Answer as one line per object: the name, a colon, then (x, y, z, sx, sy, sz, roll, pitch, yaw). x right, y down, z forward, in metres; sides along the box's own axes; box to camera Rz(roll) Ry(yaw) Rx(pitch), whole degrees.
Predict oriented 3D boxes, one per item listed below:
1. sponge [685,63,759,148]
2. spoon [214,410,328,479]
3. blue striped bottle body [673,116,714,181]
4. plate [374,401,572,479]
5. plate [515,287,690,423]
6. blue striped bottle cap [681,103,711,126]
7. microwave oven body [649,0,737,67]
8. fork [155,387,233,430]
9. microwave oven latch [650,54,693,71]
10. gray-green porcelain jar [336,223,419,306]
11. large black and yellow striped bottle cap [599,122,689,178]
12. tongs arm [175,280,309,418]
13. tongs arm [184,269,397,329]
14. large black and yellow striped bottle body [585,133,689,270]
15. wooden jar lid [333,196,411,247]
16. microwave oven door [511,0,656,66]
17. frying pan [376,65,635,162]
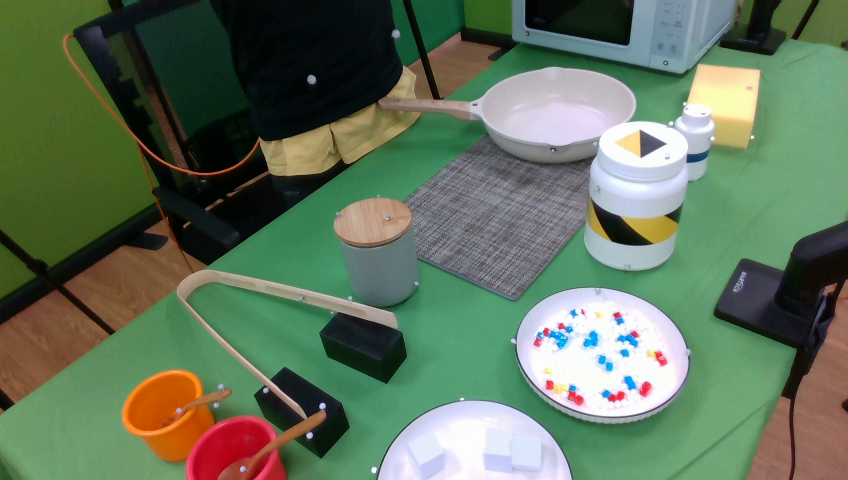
sponge: (0.569, -0.263, 1.164, 0.117, 0.061, 0.207, 12, 45, 22)
spoon: (-0.165, 0.224, 0.639, 0.193, 0.022, 0.041, -40, 32, 30)
blue striped bottle body: (0.451, -0.166, 1.023, 0.063, 0.121, 0.063, -4, 41, 4)
plate: (0.051, 0.268, 0.639, 0.207, 0.039, 0.206, -3, 40, 3)
plate: (0.220, 0.144, 0.760, 0.209, 0.038, 0.208, -4, 40, 4)
blue striped bottle cap: (0.446, -0.205, 0.990, 0.044, 0.021, 0.044, -5, 43, 5)
microwave oven body: (0.475, -0.602, 1.411, 0.438, 0.261, 0.327, 23, 50, 32)
fork: (-0.264, 0.191, 0.687, 0.206, 0.018, 0.028, -33, 7, 44)
microwave oven latch: (0.531, -0.386, 1.301, 0.078, 0.029, 0.030, 26, 51, 33)
gray-green porcelain jar: (-0.064, 0.024, 0.872, 0.106, 0.127, 0.105, -4, 41, 4)
large black and yellow striped bottle cap: (0.296, -0.123, 0.818, 0.115, 0.019, 0.114, -5, 40, 4)
tongs arm: (-0.255, 0.133, 0.800, 0.028, 0.028, 0.384, -41, 40, -23)
tongs arm: (-0.202, 0.085, 0.847, 0.382, 0.027, 0.051, 11, 44, 35)
large black and yellow striped bottle body: (0.305, -0.061, 0.874, 0.131, 0.185, 0.130, -4, 41, 4)
wooden jar lid: (-0.071, -0.023, 0.830, 0.108, 0.021, 0.108, -4, 36, 3)
microwave oven door: (0.350, -0.539, 1.349, 0.353, 0.245, 0.039, 24, 50, 31)
frying pan: (0.150, -0.254, 1.177, 0.488, 0.103, 0.306, 6, 41, 3)
